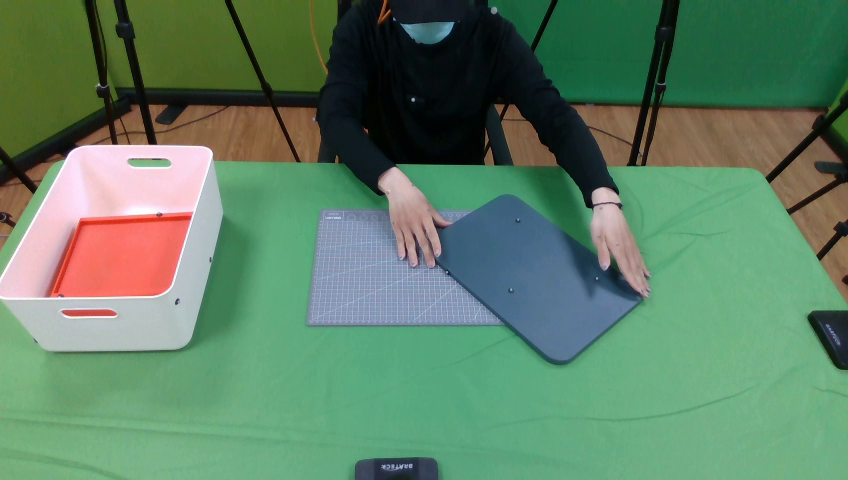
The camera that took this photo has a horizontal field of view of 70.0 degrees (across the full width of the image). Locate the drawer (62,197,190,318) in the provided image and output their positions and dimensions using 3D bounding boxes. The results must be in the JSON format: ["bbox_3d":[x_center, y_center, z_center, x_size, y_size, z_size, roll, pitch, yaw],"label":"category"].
[{"bbox_3d":[-0.513,0.040,1.059,0.212,0.074,0.193,-15,52,3],"label":"drawer"}]

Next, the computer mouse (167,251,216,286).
[{"bbox_3d":[-0.417,0.038,1.057,0.063,0.041,0.116,-34,51,-27],"label":"computer mouse"}]

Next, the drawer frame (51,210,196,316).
[{"bbox_3d":[-0.503,0.045,1.066,0.214,0.083,0.200,-4,47,-7],"label":"drawer frame"}]

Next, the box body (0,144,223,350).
[{"bbox_3d":[-0.510,0.008,1.054,0.254,0.161,0.361,-1,46,-5],"label":"box body"}]

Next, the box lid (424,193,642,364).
[{"bbox_3d":[0.203,0.054,1.168,0.263,0.015,0.369,-31,56,-30],"label":"box lid"}]
